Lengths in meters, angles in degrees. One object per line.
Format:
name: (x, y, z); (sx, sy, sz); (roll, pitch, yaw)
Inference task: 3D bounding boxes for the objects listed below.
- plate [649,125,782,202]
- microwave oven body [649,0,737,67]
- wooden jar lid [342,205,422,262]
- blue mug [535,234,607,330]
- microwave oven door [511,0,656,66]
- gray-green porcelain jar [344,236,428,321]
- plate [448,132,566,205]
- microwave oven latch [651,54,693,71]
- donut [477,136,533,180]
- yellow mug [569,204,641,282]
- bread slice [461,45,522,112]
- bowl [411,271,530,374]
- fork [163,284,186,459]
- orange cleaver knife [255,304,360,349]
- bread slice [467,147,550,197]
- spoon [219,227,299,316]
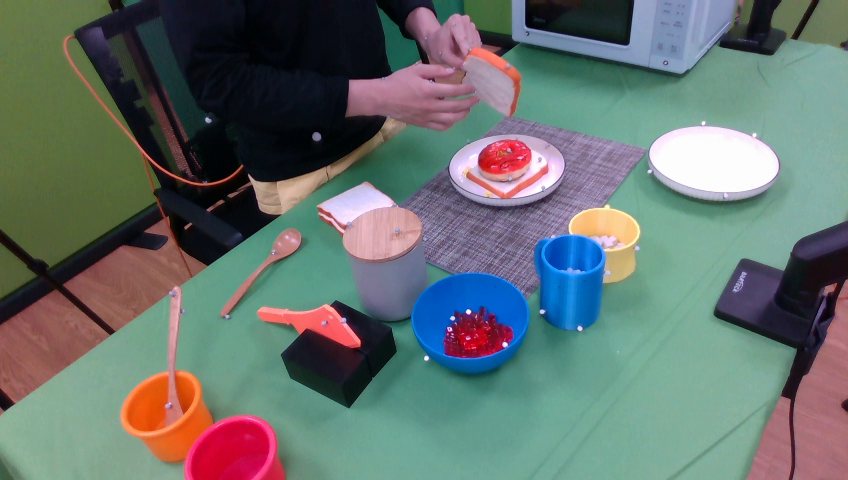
plate: (0.493, -0.127, 1.036); (0.207, 0.039, 0.206); (-4, 41, 4)
microwave oven body: (0.475, -0.602, 1.411); (0.438, 0.261, 0.327); (23, 50, 32)
wooden jar lid: (-0.055, -0.006, 0.808); (0.108, 0.021, 0.108); (-6, 40, 6)
blue mug: (0.190, 0.048, 0.824); (0.082, 0.106, 0.115); (-26, 44, -20)
microwave oven door: (0.351, -0.539, 1.349); (0.353, 0.245, 0.039); (24, 50, 31)
gray-green porcelain jar: (-0.049, 0.042, 0.849); (0.106, 0.127, 0.105); (-4, 41, 4)
plate: (0.146, -0.124, 1.075); (0.209, 0.038, 0.208); (-3, 41, 3)
microwave oven latch: (0.531, -0.386, 1.301); (0.078, 0.029, 0.030); (26, 51, 33)
donut: (0.141, -0.145, 1.058); (0.099, 0.048, 0.098); (-6, 42, 6)
yellow mug: (0.268, -0.005, 0.904); (0.099, 0.064, 0.130); (7, 41, 15)
bread slice: (0.108, -0.257, 0.964); (0.107, 0.134, 0.018); (32, 82, 4)
bowl: (0.061, 0.120, 0.780); (0.151, 0.077, 0.150); (-4, 40, 4)
fork: (-0.302, 0.157, 0.733); (0.028, 0.019, 0.207); (-3, 84, 15)
orange cleaver knife: (-0.161, 0.115, 0.813); (0.210, 0.077, 0.012); (-4, 32, 47)
bread slice: (0.156, -0.128, 1.084); (0.132, 0.019, 0.104); (-34, 48, -24)
spoon: (-0.261, 0.046, 0.954); (0.041, 0.021, 0.194); (27, 48, 10)
